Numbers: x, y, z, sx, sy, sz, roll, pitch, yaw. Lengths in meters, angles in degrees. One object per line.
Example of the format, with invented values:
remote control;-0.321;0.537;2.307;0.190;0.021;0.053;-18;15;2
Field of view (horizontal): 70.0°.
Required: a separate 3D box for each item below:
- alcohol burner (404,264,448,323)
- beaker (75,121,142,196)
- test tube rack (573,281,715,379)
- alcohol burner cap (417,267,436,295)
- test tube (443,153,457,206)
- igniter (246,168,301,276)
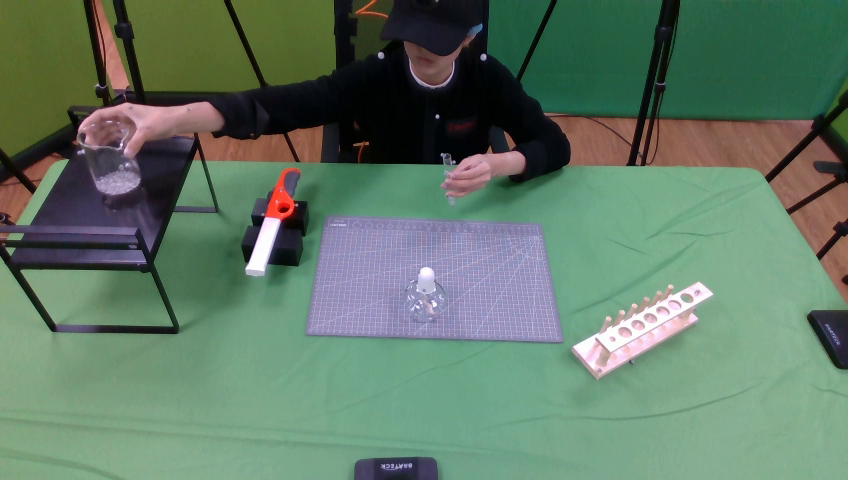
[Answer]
alcohol burner;0.003;0.087;1.042;0.078;0.120;0.077;1;45;0
beaker;-0.495;-0.125;0.963;0.083;0.101;0.074;31;49;26
test tube rack;0.378;0.140;1.038;0.242;0.085;0.066;-22;51;-23
alcohol burner cap;0.004;0.066;1.019;0.034;0.048;0.033;0;47;1
test tube;0.051;-0.113;1.167;0.017;0.151;0.017;-4;56;5
igniter;-0.282;-0.044;1.149;0.057;0.025;0.275;8;48;-1
